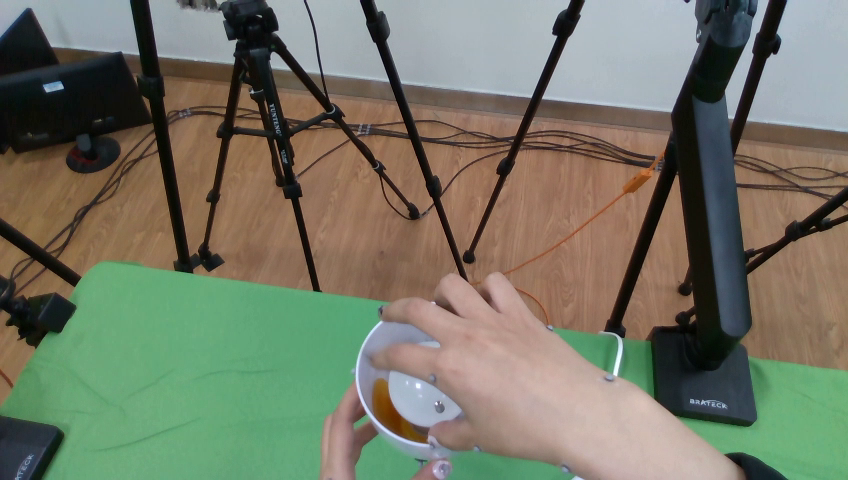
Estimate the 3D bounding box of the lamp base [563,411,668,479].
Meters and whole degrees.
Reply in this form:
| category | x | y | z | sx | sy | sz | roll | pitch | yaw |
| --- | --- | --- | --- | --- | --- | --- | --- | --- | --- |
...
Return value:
| category | x | y | z | sx | sy | sz | roll | pitch | yaw |
| --- | --- | --- | --- | --- | --- | --- | --- | --- | --- |
| lamp base | 0.216 | 0.260 | 0.609 | 0.161 | 0.182 | 0.177 | -3 | 50 | -3 |

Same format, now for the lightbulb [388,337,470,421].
| category | x | y | z | sx | sy | sz | roll | pitch | yaw |
| --- | --- | --- | --- | --- | --- | --- | --- | --- | --- |
| lightbulb | 0.003 | 0.111 | 0.460 | 0.059 | 0.108 | 0.059 | 0 | 62 | -1 |

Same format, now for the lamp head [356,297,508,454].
| category | x | y | z | sx | sy | sz | roll | pitch | yaw |
| --- | --- | --- | --- | --- | --- | --- | --- | --- | --- |
| lamp head | 0.010 | 0.120 | 0.484 | 0.112 | 0.124 | 0.111 | -3 | 57 | 4 |
